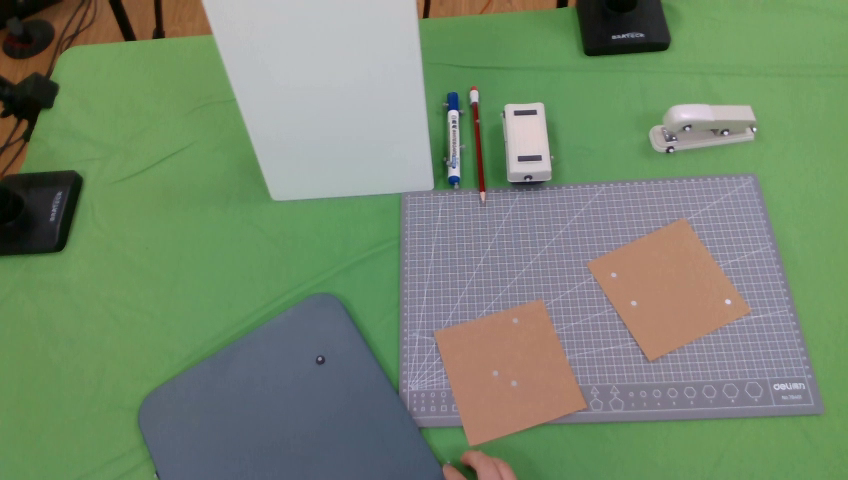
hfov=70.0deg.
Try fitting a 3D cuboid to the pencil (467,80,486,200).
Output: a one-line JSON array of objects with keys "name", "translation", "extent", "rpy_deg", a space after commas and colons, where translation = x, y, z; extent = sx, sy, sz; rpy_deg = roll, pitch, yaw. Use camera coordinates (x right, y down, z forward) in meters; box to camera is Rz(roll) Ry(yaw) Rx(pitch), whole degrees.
[{"name": "pencil", "translation": [0.071, -0.137, 0.812], "extent": [0.012, 0.012, 0.192], "rpy_deg": [-5, 64, 3]}]

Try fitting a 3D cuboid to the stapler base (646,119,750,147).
[{"name": "stapler base", "translation": [0.359, -0.151, 0.788], "extent": [0.130, 0.024, 0.041], "rpy_deg": [-8, 67, -1]}]

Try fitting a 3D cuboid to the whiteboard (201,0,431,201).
[{"name": "whiteboard", "translation": [-0.109, -0.216, 0.736], "extent": [0.217, 0.308, 0.142], "rpy_deg": [-3, 45, 4]}]

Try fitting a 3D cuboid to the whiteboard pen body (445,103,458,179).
[{"name": "whiteboard pen body", "translation": [0.036, -0.144, 0.815], "extent": [0.017, 0.017, 0.139], "rpy_deg": [-2, 64, 4]}]

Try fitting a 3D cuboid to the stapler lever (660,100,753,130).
[{"name": "stapler lever", "translation": [0.359, -0.162, 0.767], "extent": [0.118, 0.040, 0.026], "rpy_deg": [-8, 66, 0]}]

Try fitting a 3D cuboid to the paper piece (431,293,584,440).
[{"name": "paper piece", "translation": [0.091, 0.137, 0.678], "extent": [0.135, 0.004, 0.134], "rpy_deg": [-16, 65, -4]}]

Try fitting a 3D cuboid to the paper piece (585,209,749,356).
[{"name": "paper piece", "translation": [0.280, 0.046, 0.706], "extent": [0.136, 0.009, 0.137], "rpy_deg": [-25, 67, -2]}]

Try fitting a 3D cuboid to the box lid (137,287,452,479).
[{"name": "box lid", "translation": [-0.130, 0.247, 0.645], "extent": [0.263, 0.015, 0.368], "rpy_deg": [-31, 67, -10]}]

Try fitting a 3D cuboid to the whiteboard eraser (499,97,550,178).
[{"name": "whiteboard eraser", "translation": [0.130, -0.133, 0.789], "extent": [0.055, 0.042, 0.112], "rpy_deg": [-4, 64, 4]}]

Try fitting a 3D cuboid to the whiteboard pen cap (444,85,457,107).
[{"name": "whiteboard pen cap", "translation": [0.037, -0.197, 0.839], "extent": [0.018, 0.018, 0.033], "rpy_deg": [-4, 63, 3]}]
